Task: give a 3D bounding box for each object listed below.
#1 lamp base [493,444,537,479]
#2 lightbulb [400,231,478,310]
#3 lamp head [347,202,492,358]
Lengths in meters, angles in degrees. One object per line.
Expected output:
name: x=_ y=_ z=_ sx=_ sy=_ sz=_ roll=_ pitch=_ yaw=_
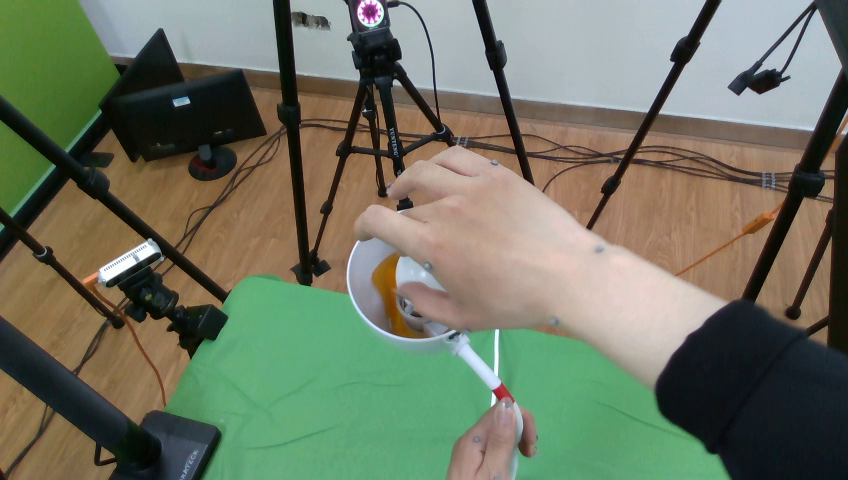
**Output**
lamp base: x=0.107 y=0.303 z=0.648 sx=0.161 sy=0.182 sz=0.177 roll=-23 pitch=51 yaw=-11
lightbulb: x=0.007 y=0.031 z=0.482 sx=0.060 sy=0.108 sz=0.059 roll=3 pitch=70 yaw=-9
lamp head: x=0.001 y=0.047 z=0.507 sx=0.112 sy=0.124 sz=0.111 roll=-3 pitch=60 yaw=5
